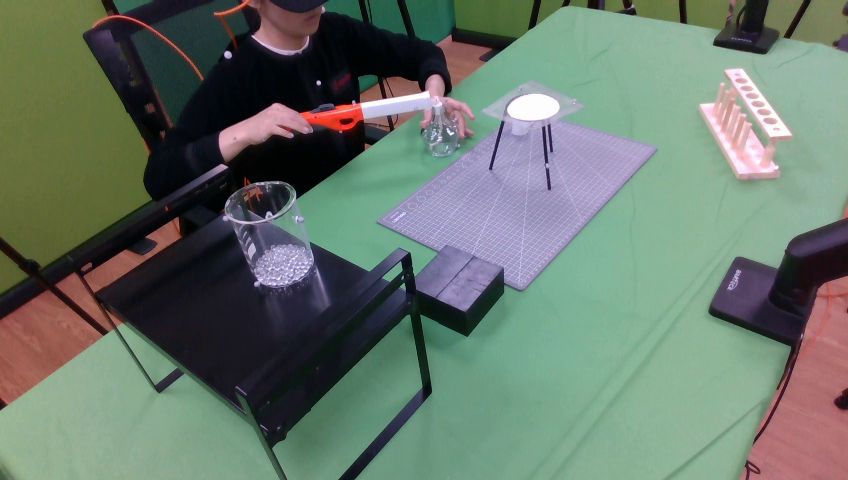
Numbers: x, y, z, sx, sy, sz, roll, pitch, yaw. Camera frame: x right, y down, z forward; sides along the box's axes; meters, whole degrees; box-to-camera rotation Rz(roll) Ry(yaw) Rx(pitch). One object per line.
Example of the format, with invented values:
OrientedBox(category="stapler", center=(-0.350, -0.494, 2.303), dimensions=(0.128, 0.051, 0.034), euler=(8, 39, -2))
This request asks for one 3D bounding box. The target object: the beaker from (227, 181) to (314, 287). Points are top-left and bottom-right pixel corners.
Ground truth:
OrientedBox(category="beaker", center=(-0.166, -0.006, 0.670), dimensions=(0.074, 0.101, 0.083), euler=(-8, 40, 0))

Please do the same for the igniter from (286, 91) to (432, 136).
OrientedBox(category="igniter", center=(-0.122, -0.234, 1.119), dimensions=(0.277, 0.057, 0.025), euler=(-11, 45, -2))

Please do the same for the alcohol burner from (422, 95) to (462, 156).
OrientedBox(category="alcohol burner", center=(0.033, -0.223, 1.161), dimensions=(0.078, 0.119, 0.077), euler=(-4, 39, 4))

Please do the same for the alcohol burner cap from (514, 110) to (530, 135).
OrientedBox(category="alcohol burner cap", center=(0.194, -0.235, 1.200), dimensions=(0.034, 0.048, 0.033), euler=(-5, 42, 5))

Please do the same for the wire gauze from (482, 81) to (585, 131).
OrientedBox(category="wire gauze", center=(0.183, -0.224, 1.015), dimensions=(0.125, 0.011, 0.120), euler=(-32, 46, -23))

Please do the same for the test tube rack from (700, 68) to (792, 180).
OrientedBox(category="test tube rack", center=(0.572, -0.215, 1.090), dimensions=(0.066, 0.085, 0.241), euler=(-3, 41, 7))

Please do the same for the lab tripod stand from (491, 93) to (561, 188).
OrientedBox(category="lab tripod stand", center=(0.189, -0.180, 1.066), dimensions=(0.148, 0.132, 0.147), euler=(-5, 42, 5))
